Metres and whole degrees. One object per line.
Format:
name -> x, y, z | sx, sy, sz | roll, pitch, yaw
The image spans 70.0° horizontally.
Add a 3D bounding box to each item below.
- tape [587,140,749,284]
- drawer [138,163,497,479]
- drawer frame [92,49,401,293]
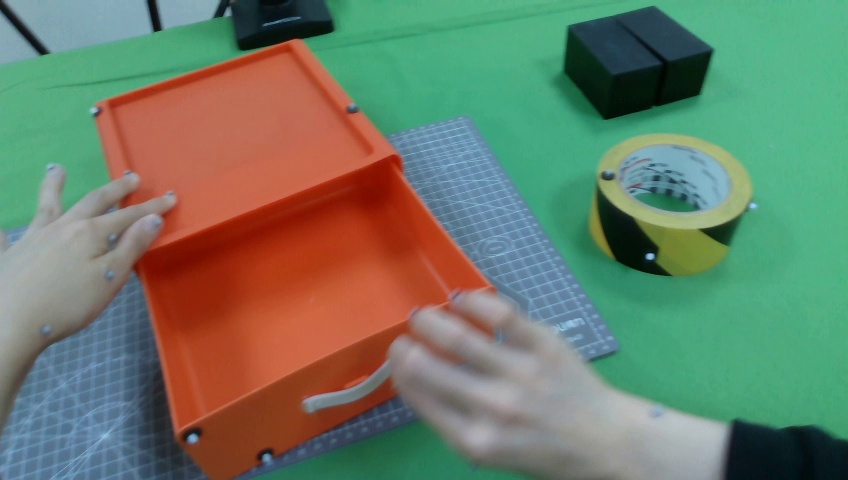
tape -> 0.187, -0.026, 0.475 | 0.117, 0.053, 0.115 | -2, 46, 3
drawer -> -0.085, 0.029, 0.425 | 0.195, 0.074, 0.209 | -23, 49, -16
drawer frame -> -0.152, -0.058, 0.513 | 0.202, 0.083, 0.211 | -25, 48, -17
